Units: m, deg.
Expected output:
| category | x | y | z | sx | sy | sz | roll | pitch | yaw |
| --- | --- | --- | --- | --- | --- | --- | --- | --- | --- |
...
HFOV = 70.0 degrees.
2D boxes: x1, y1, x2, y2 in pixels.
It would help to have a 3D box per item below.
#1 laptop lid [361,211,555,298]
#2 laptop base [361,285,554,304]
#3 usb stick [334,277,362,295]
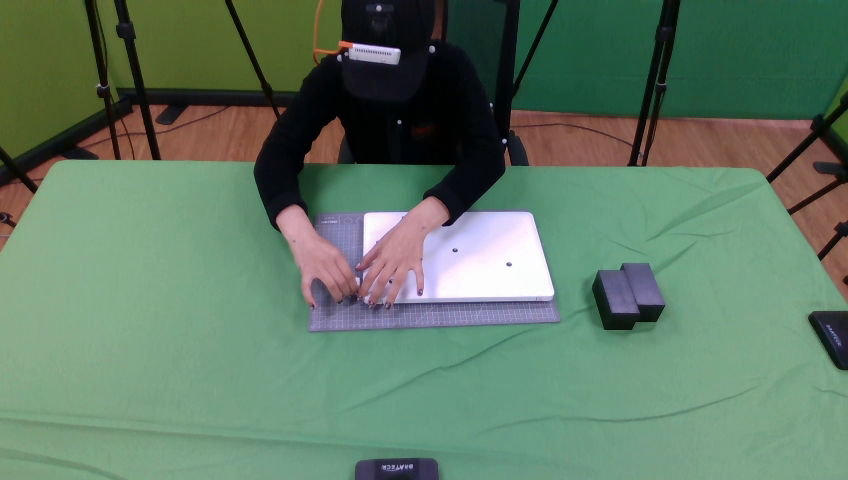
| category | x | y | z | sx | sy | sz | roll | pitch | yaw |
| --- | --- | --- | --- | --- | --- | --- | --- | --- | --- |
| laptop lid | 0.058 | 0.022 | 1.168 | 0.357 | 0.013 | 0.240 | 1 | 44 | -4 |
| laptop base | 0.057 | 0.032 | 1.174 | 0.355 | 0.023 | 0.234 | -1 | 43 | -5 |
| usb stick | -0.131 | 0.083 | 1.094 | 0.059 | 0.027 | 0.021 | 0 | 43 | -6 |
